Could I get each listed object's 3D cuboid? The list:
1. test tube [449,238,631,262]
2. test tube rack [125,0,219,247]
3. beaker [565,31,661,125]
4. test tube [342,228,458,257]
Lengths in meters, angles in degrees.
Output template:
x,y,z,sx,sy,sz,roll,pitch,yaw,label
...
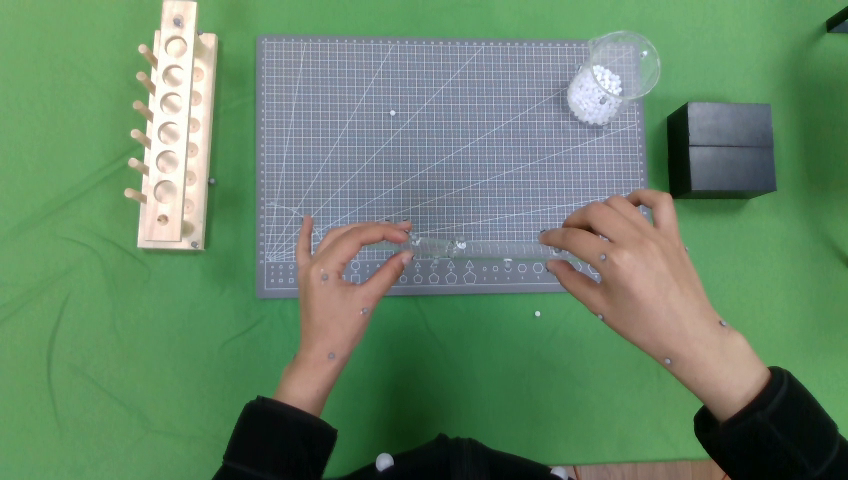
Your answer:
x,y,z,sx,sy,sz,roll,pitch,yaw,label
0.095,0.009,0.492,0.151,0.017,0.017,1,83,-5,test tube
-0.266,-0.118,0.632,0.067,0.085,0.241,2,84,-4,test tube rack
0.201,-0.175,0.670,0.084,0.100,0.074,36,82,1,beaker
-0.027,0.001,0.543,0.017,0.149,0.017,-6,99,-42,test tube
